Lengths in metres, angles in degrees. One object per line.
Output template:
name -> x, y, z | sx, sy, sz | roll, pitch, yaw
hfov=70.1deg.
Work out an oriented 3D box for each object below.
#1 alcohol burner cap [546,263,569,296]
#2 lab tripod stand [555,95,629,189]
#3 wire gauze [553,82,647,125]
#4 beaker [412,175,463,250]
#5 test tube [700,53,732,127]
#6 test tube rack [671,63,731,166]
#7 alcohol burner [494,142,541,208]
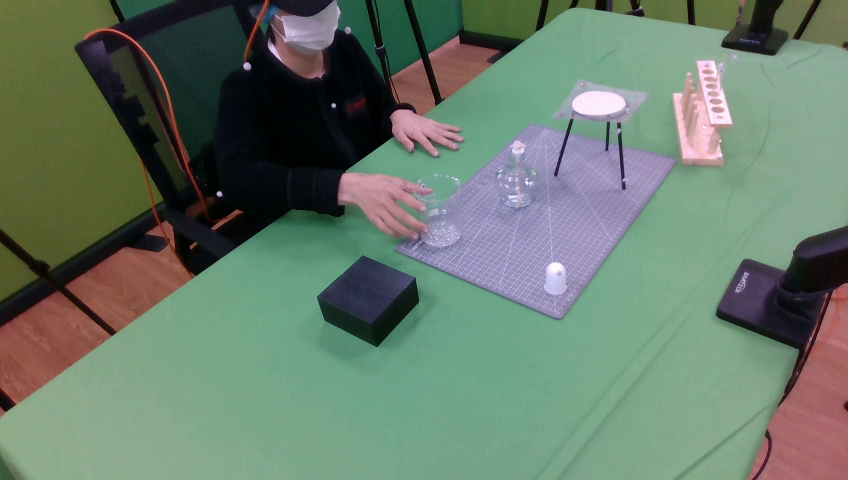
alcohol burner cap -> 0.191, 0.053, 0.862 | 0.034, 0.048, 0.033 | -5, 40, 4
lab tripod stand -> 0.300, -0.174, 1.045 | 0.148, 0.132, 0.147 | -5, 38, 5
wire gauze -> 0.293, -0.225, 1.002 | 0.120, 0.011, 0.125 | 17, 45, 27
beaker -> 0.027, -0.043, 0.959 | 0.084, 0.100, 0.073 | -26, 43, -22
test tube -> 0.521, -0.265, 1.081 | 0.017, 0.151, 0.017 | -3, 47, 3
test tube rack -> 0.513, -0.241, 1.132 | 0.066, 0.085, 0.242 | 4, 41, 14
alcohol burner -> 0.157, -0.113, 1.011 | 0.078, 0.119, 0.077 | -3, 41, 3
